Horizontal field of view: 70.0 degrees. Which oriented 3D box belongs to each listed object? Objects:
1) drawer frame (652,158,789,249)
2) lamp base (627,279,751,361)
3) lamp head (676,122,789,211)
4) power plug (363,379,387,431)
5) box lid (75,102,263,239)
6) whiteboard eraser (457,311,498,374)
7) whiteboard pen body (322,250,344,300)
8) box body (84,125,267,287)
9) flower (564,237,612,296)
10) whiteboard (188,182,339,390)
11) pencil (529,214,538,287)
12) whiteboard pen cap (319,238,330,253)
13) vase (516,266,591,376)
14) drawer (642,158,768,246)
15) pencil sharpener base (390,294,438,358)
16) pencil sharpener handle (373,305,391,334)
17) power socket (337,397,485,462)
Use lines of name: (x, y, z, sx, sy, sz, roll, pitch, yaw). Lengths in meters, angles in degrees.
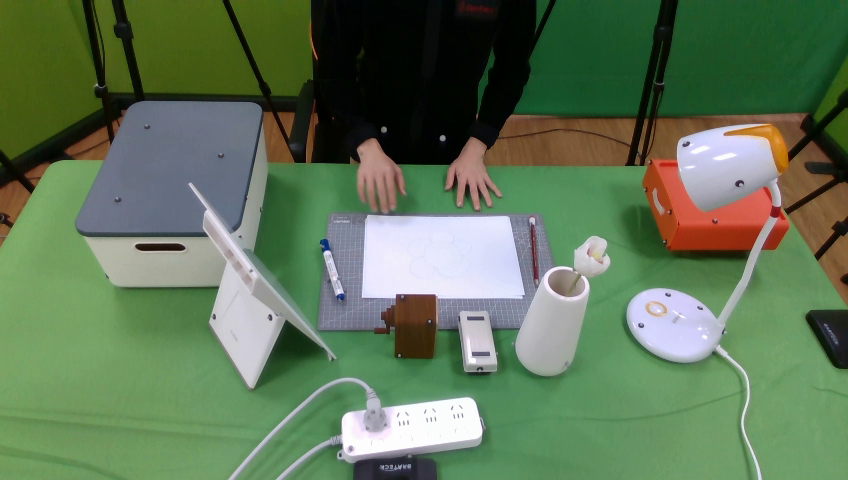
drawer frame: (0.571, -0.075, 1.214, 0.214, 0.083, 0.200, 0, 45, -1)
lamp base: (0.459, 0.100, 1.027, 0.178, 0.181, 0.160, 27, 51, 17)
lamp head: (0.423, -0.104, 0.819, 0.122, 0.113, 0.112, -13, 33, 40)
power plug: (-0.072, 0.252, 0.910, 0.035, 0.053, 0.072, 3, 45, -1)
box lid: (-0.443, -0.138, 1.094, 0.263, 0.015, 0.369, -1, 47, -5)
whiteboard eraser: (0.089, 0.173, 1.025, 0.055, 0.042, 0.112, -2, 47, -4)
whiteboard pen body: (-0.173, 0.056, 1.127, 0.017, 0.017, 0.140, -12, 49, -16)
box body: (-0.446, -0.088, 1.150, 0.254, 0.161, 0.361, -1, 46, -5)
flower: (0.206, 0.088, 0.893, 0.038, 0.363, 0.044, -17, 67, -9)
whiteboard: (-0.292, 0.096, 0.929, 0.144, 0.307, 0.216, -38, 57, -10)
pencil: (0.219, 0.019, 1.202, 0.012, 0.012, 0.193, 5, 47, 1)
whiteboard pen cap: (-0.191, 0.013, 1.163, 0.018, 0.018, 0.033, -12, 49, -16)
vase: (0.208, 0.132, 0.964, 0.098, 0.201, 0.097, 3, 46, -3)
drawer: (0.565, -0.076, 1.211, 0.212, 0.073, 0.193, 2, 45, -2)
pencil sharpener base: (-0.018, 0.143, 1.000, 0.077, 0.107, 0.061, 1, 46, -2)
pencil sharpener handle: (-0.069, 0.133, 0.989, 0.030, 0.068, 0.036, 1, 47, -2)
power socket: (-0.018, 0.285, 0.915, 0.227, 0.033, 0.071, -5, 46, -8)
